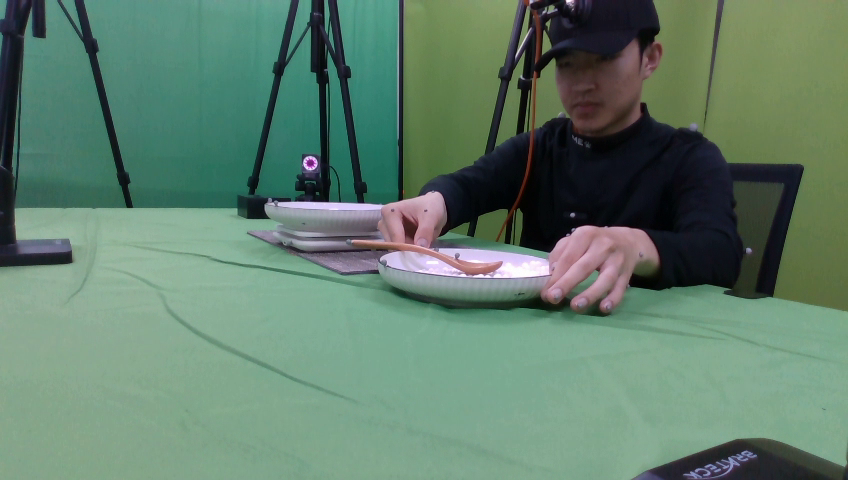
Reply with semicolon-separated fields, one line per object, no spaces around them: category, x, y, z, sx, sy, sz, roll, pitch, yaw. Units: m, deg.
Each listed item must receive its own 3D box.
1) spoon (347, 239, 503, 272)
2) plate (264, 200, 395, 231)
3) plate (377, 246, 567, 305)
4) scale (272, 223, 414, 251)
spoon;-0.002;0.014;0.721;0.193;0.021;0.042;12;10;17
plate;-0.150;-0.040;0.971;0.208;0.039;0.207;2;7;0
plate;0.052;0.039;0.671;0.209;0.038;0.209;2;6;0
scale;-0.131;-0.008;0.983;0.202;0.031;0.148;-2;8;-32
